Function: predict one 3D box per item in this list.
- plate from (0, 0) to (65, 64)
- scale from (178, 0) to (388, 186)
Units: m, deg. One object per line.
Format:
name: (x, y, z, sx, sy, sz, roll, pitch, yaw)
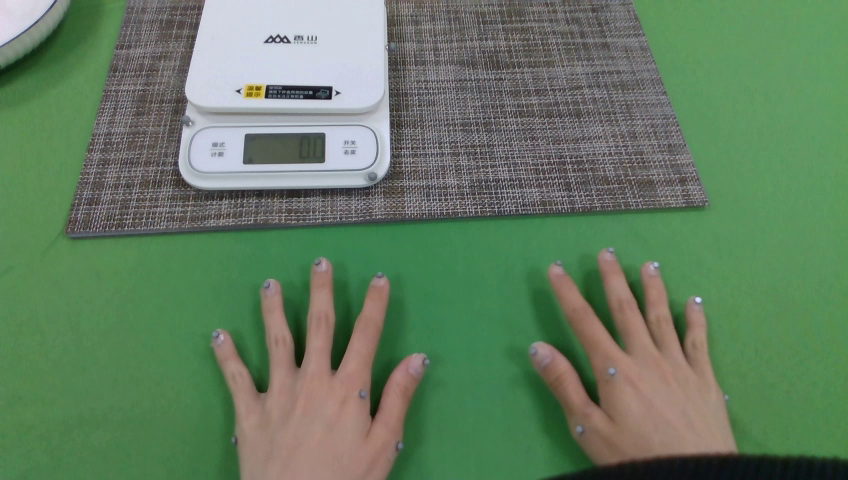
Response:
plate: (-0.395, -0.196, 0.494, 0.208, 0.039, 0.205, 1, 59, -2)
scale: (-0.104, -0.130, 0.467, 0.149, 0.032, 0.199, -2, 60, -3)
